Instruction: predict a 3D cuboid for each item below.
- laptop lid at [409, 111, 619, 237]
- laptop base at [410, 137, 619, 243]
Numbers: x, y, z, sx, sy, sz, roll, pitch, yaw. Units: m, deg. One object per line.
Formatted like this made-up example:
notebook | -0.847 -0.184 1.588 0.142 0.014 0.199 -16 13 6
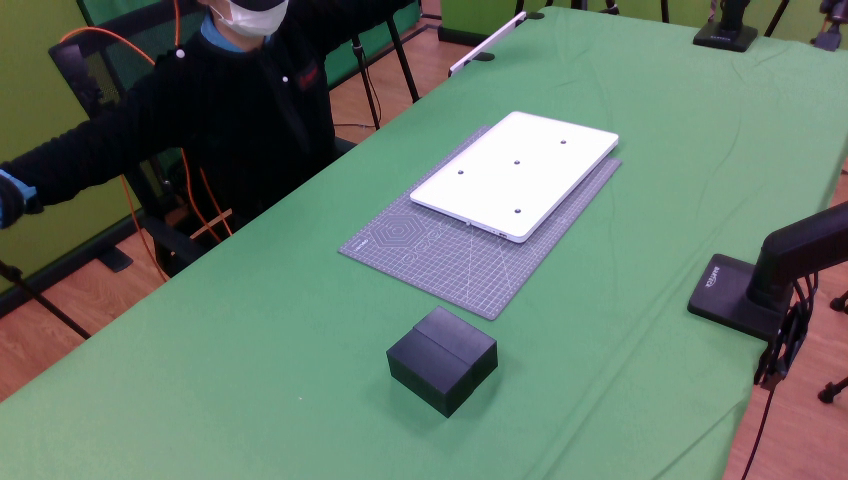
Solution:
laptop lid | 0.168 -0.136 1.089 0.239 0.013 0.358 23 48 34
laptop base | 0.171 -0.126 1.095 0.233 0.023 0.355 21 47 33
